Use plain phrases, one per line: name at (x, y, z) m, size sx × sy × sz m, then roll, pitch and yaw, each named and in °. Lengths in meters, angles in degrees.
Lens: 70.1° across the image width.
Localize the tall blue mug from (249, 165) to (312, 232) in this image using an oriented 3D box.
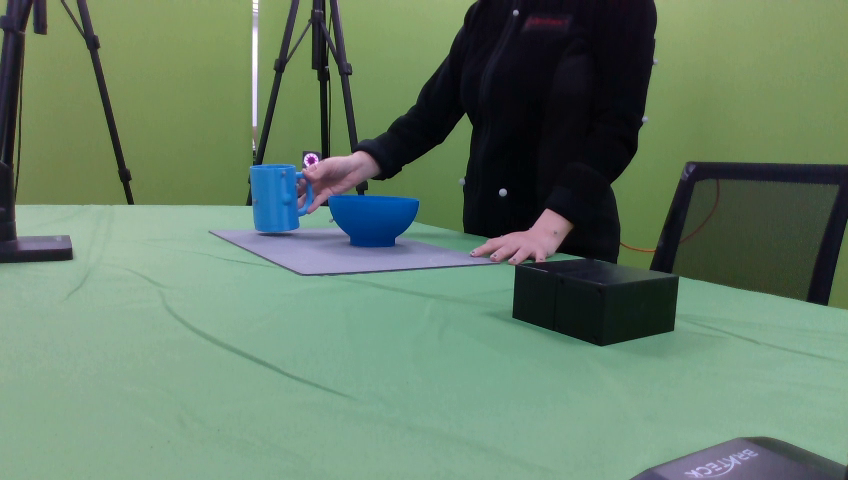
tall blue mug at (-0.254, -0.077, 1.062) m, size 0.077 × 0.108 × 0.107 m, roll 2°, pitch 13°, yaw 16°

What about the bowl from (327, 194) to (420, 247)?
bowl at (-0.083, -0.032, 0.987) m, size 0.151 × 0.077 × 0.151 m, roll 2°, pitch 7°, yaw 0°
